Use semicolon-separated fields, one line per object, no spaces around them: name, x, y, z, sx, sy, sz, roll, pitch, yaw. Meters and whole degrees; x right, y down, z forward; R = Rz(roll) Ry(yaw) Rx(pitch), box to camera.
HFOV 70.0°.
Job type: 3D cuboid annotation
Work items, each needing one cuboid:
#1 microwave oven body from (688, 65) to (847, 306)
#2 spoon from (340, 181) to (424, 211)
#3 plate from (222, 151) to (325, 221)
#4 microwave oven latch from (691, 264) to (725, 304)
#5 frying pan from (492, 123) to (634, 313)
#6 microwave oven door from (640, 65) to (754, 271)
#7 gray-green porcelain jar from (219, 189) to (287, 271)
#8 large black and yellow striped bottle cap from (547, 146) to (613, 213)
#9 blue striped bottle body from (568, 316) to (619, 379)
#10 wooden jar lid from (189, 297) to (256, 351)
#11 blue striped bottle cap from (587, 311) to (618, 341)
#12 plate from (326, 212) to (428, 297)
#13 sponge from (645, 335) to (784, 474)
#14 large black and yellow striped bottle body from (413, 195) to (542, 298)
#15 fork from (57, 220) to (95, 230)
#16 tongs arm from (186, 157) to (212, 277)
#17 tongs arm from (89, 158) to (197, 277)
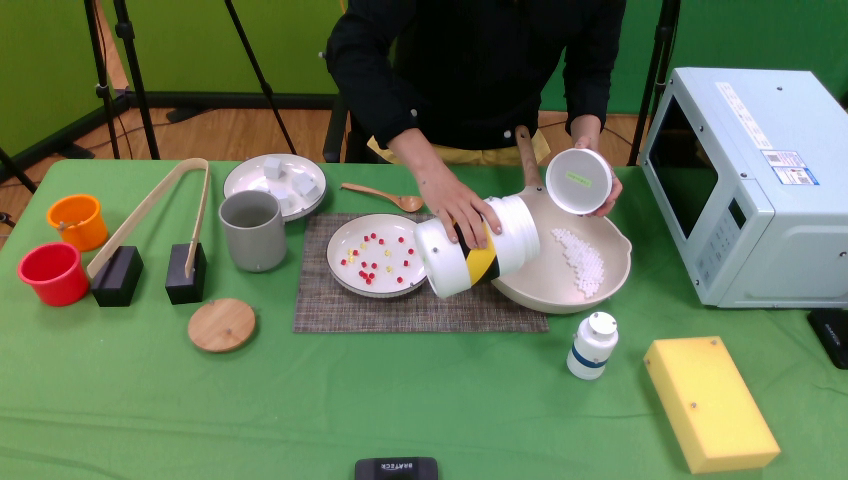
microwave oven body;0.669;-0.111;1.176;0.326;0.261;0.439;0;46;-3
spoon;-0.090;-0.100;1.282;0.193;0.022;0.041;18;65;13
plate;-0.310;-0.106;1.262;0.208;0.039;0.206;2;47;-2
microwave oven latch;0.521;0.081;1.116;0.030;0.029;0.078;0;46;-3
frying pan;0.235;-0.060;1.207;0.307;0.103;0.484;2;55;-6
microwave oven door;0.524;-0.148;1.193;0.039;0.245;0.353;0;47;-3
gray-green porcelain jar;-0.310;-0.014;1.113;0.106;0.127;0.105;2;46;-2
large black and yellow striped bottle cap;0.265;-0.104;1.035;0.114;0.115;0.019;34;37;25
blue striped bottle body;0.277;0.169;0.984;0.063;0.121;0.062;2;46;-1
wooden jar lid;-0.342;0.145;1.033;0.108;0.021;0.107;2;45;-2
blue striped bottle cap;0.279;0.134;0.947;0.044;0.021;0.044;2;45;-2
plate;-0.080;0.030;1.143;0.209;0.038;0.208;2;46;-2
sponge;0.449;0.253;0.956;0.118;0.061;0.205;-4;46;-7
large black and yellow striped bottle body;0.088;0.006;0.998;0.184;0.131;0.130;-20;50;-5
fork;-0.624;-0.027;1.087;0.028;0.207;0.018;-3;92;-17
tongs arm;-0.445;-0.058;1.168;0.051;0.026;0.382;-4;37;-6
tongs arm;-0.529;-0.058;1.163;0.028;0.028;0.385;1;36;7
